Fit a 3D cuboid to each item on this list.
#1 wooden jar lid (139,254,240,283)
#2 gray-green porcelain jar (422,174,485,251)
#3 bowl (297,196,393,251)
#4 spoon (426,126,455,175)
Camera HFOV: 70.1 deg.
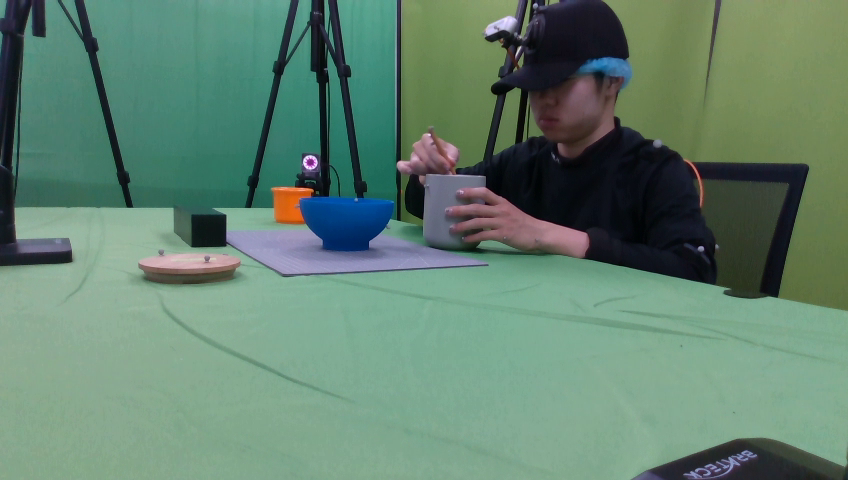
[{"bbox_3d":[-0.269,0.032,0.697,0.108,0.020,0.108,2,5,0],"label":"wooden jar lid"},{"bbox_3d":[0.050,-0.049,1.040,0.106,0.126,0.106,3,8,0],"label":"gray-green porcelain jar"},{"bbox_3d":[-0.125,-0.026,0.958,0.151,0.077,0.151,2,7,0],"label":"bowl"},{"bbox_3d":[0.047,-0.106,1.030,0.022,0.194,0.041,-24,16,-7],"label":"spoon"}]
